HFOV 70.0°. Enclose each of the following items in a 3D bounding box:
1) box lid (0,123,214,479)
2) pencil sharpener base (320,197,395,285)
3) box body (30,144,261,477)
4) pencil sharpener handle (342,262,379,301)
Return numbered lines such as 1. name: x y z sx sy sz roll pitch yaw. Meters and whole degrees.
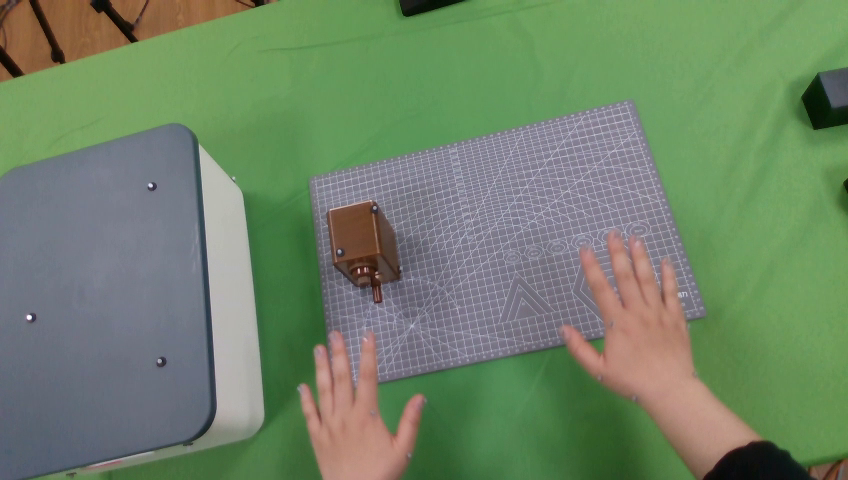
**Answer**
1. box lid: -0.366 0.052 0.664 0.263 0.015 0.368 -14 69 4
2. pencil sharpener base: -0.078 0.007 0.735 0.061 0.108 0.076 -12 69 5
3. box body: -0.354 0.079 0.732 0.254 0.161 0.361 -15 69 4
4. pencil sharpener handle: -0.069 0.049 0.706 0.036 0.068 0.030 -15 69 13
